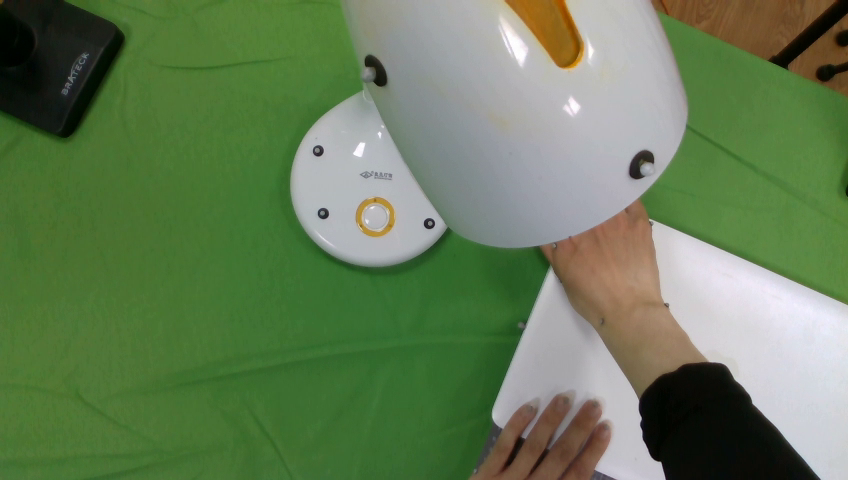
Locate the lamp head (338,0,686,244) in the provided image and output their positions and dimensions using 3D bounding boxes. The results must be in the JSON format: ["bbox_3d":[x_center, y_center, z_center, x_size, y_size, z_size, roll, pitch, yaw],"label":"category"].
[{"bbox_3d":[0.021,-0.077,0.216,0.112,0.111,0.124,-47,129,-7],"label":"lamp head"}]

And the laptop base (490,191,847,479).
[{"bbox_3d":[0.264,0.125,0.570,0.354,0.023,0.235,23,85,0],"label":"laptop base"}]

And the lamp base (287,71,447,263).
[{"bbox_3d":[-0.047,-0.080,0.497,0.161,0.180,0.178,-7,81,-3],"label":"lamp base"}]

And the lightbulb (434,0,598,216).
[{"bbox_3d":[0.032,-0.054,0.233,0.059,0.109,0.059,-15,48,17],"label":"lightbulb"}]

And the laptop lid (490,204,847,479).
[{"bbox_3d":[0.263,0.125,0.559,0.357,0.013,0.241,25,84,1],"label":"laptop lid"}]

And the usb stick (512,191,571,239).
[{"bbox_3d":[0.113,-0.021,0.572,0.059,0.027,0.021,32,83,2],"label":"usb stick"}]
